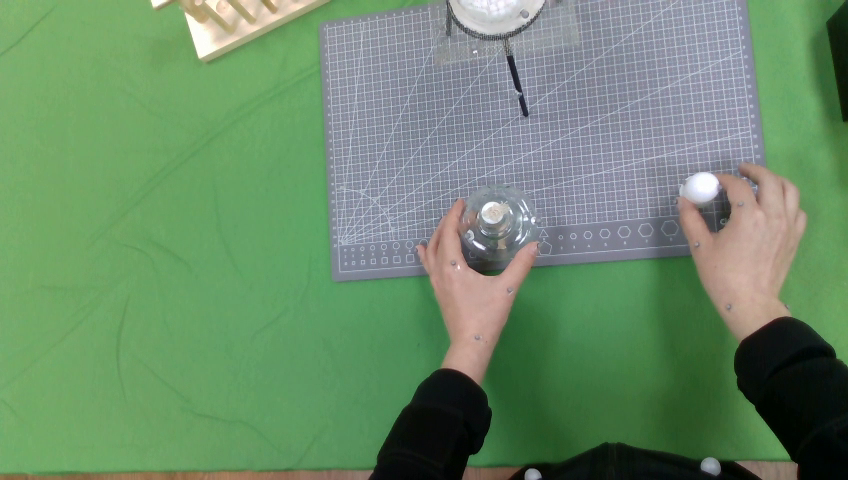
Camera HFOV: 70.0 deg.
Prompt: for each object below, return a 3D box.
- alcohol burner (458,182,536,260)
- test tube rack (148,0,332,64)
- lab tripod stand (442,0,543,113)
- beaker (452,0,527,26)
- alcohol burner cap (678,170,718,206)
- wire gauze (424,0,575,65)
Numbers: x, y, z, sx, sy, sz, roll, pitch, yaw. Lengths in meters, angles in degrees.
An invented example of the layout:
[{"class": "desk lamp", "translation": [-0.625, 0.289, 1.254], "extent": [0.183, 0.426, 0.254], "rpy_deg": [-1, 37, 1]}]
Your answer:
[{"class": "alcohol burner", "translation": [0.068, -0.020, 0.582], "extent": [0.078, 0.119, 0.077], "rpy_deg": [-1, 84, 11]}, {"class": "test tube rack", "translation": [-0.178, -0.291, 0.677], "extent": [0.242, 0.085, 0.066], "rpy_deg": [-22, 81, 10]}, {"class": "lab tripod stand", "translation": [0.076, -0.209, 0.584], "extent": [0.148, 0.132, 0.148], "rpy_deg": [-1, 86, 11]}, {"class": "beaker", "translation": [0.045, -0.220, 0.475], "extent": [0.083, 0.100, 0.074], "rpy_deg": [8, 88, 14]}, {"class": "alcohol burner cap", "translation": [0.254, -0.050, 0.559], "extent": [0.034, 0.048, 0.034], "rpy_deg": [-1, 87, 17]}, {"class": "wire gauze", "translation": [0.061, -0.216, 0.521], "extent": [0.125, 0.011, 0.121], "rpy_deg": [-6, 88, 10]}]
